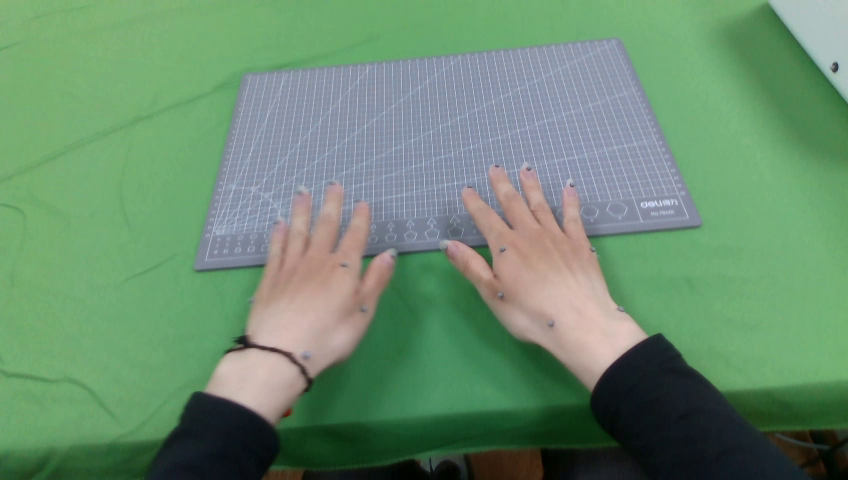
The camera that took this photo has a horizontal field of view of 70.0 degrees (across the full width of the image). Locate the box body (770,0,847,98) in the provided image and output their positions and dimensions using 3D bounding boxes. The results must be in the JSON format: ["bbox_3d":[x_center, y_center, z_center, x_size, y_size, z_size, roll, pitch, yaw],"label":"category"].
[{"bbox_3d":[0.529,-0.233,0.572,0.254,0.162,0.360,-6,50,1],"label":"box body"}]
